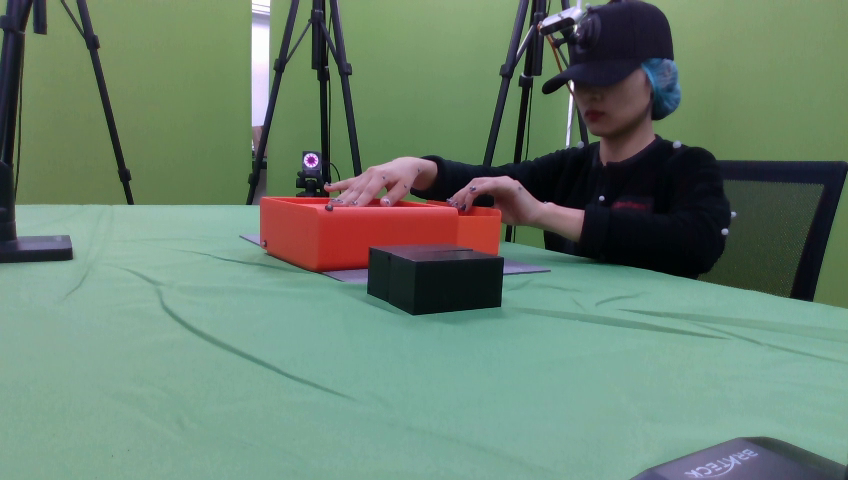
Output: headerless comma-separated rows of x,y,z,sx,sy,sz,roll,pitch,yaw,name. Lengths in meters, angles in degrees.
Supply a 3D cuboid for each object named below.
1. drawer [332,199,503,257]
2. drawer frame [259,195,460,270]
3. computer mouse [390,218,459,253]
-0.026,-0.020,0.891,0.213,0.073,0.193,-2,9,-34,drawer
-0.093,-0.018,0.846,0.215,0.082,0.200,-4,10,-35,drawer frame
0.000,-0.007,0.899,0.063,0.041,0.116,2,13,-33,computer mouse
